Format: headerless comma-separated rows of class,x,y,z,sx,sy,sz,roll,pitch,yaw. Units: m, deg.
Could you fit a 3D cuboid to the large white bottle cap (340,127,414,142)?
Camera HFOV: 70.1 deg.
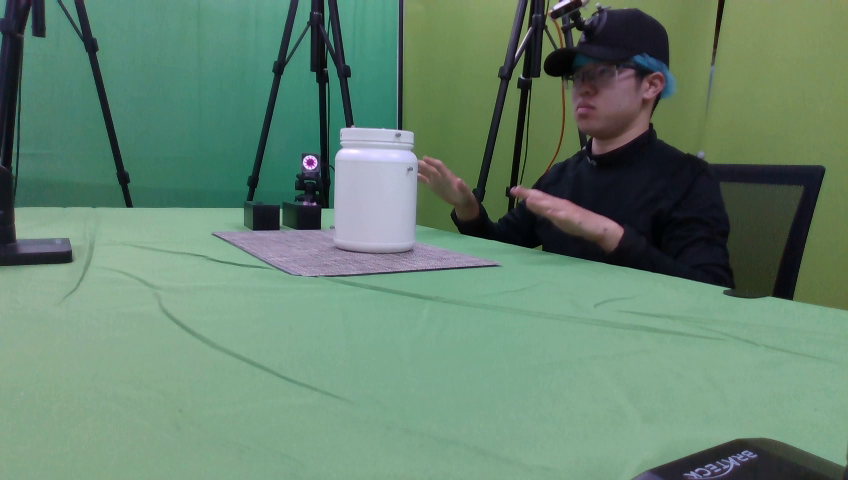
large white bottle cap,-0.072,-0.163,0.940,0.115,0.018,0.115,2,7,0

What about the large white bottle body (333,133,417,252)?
large white bottle body,-0.076,-0.080,0.950,0.131,0.184,0.130,2,7,0
